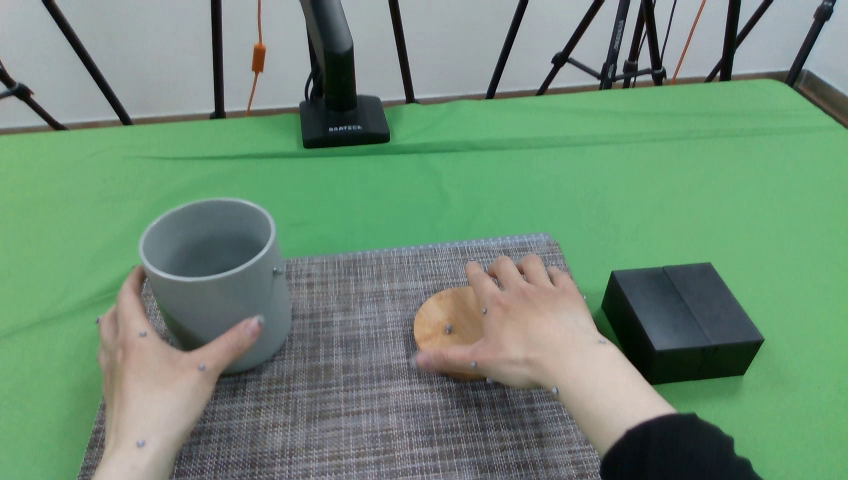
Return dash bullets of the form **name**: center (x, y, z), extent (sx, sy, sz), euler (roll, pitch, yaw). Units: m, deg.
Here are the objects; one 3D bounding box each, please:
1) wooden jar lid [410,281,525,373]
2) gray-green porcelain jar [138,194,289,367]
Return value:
- **wooden jar lid**: center (0.041, 0.082, 0.570), extent (0.108, 0.021, 0.107), euler (2, 41, -2)
- **gray-green porcelain jar**: center (-0.176, 0.040, 0.528), extent (0.106, 0.127, 0.105), euler (1, 41, -1)
